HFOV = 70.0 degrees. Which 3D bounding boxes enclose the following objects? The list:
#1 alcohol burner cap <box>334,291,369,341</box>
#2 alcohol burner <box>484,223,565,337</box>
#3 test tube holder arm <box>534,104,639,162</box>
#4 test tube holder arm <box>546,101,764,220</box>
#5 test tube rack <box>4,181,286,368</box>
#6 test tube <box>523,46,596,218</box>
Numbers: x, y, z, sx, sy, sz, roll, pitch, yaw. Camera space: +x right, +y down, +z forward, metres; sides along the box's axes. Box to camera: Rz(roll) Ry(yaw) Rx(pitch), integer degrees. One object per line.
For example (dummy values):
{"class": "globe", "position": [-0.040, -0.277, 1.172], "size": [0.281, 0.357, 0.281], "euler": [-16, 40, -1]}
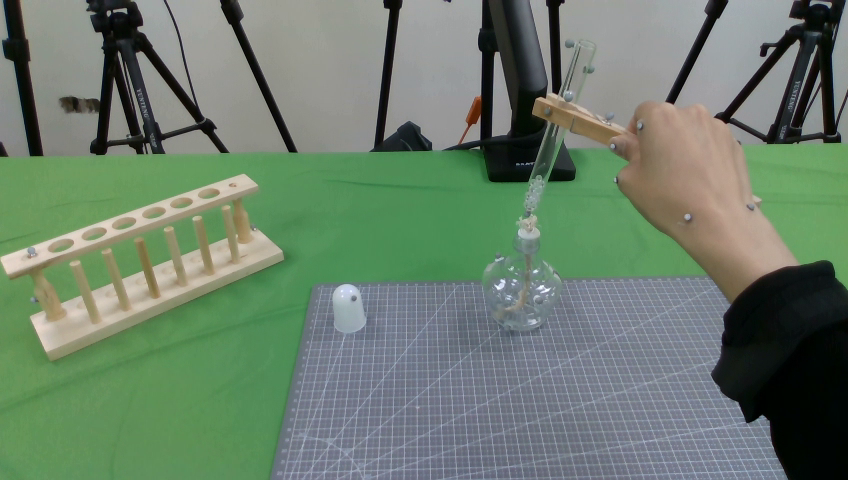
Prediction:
{"class": "alcohol burner cap", "position": [-0.071, 0.070, 0.586], "size": [0.034, 0.048, 0.033], "euler": [0, 35, 1]}
{"class": "alcohol burner", "position": [0.096, 0.033, 0.573], "size": [0.078, 0.120, 0.077], "euler": [0, 36, 0]}
{"class": "test tube holder arm", "position": [0.122, -0.082, 0.458], "size": [0.087, 0.015, 0.010], "euler": [30, 42, 28]}
{"class": "test tube holder arm", "position": [0.158, -0.062, 0.438], "size": [0.013, 0.015, 0.176], "euler": [-26, 47, -36]}
{"class": "test tube rack", "position": [-0.271, 0.027, 0.621], "size": [0.243, 0.086, 0.066], "euler": [-26, 41, -31]}
{"class": "test tube", "position": [0.105, -0.080, 0.484], "size": [0.017, 0.151, 0.017], "euler": [8, 38, -6]}
